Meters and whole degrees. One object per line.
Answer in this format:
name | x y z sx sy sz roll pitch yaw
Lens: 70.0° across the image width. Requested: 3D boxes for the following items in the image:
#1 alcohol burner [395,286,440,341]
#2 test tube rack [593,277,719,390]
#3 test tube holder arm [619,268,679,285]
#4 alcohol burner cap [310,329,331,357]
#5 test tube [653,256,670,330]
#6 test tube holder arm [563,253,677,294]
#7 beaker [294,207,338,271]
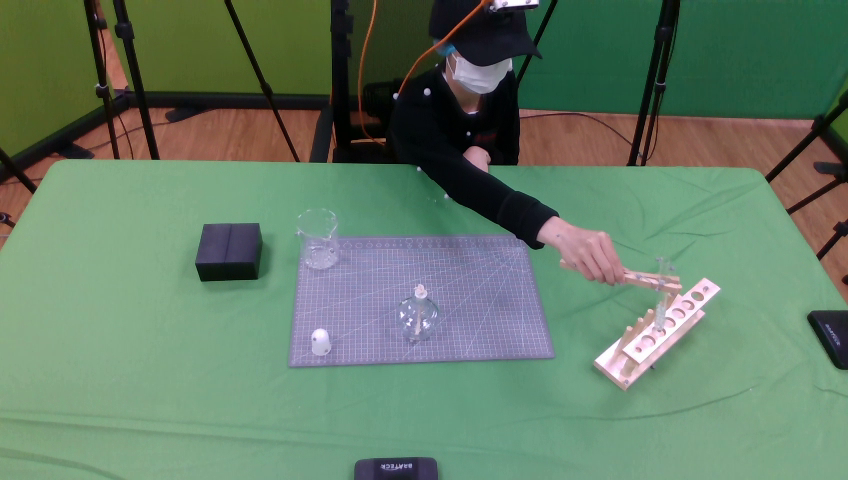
alcohol burner | -0.010 0.116 1.018 0.078 0.119 0.077 3 47 -3
test tube rack | 0.401 0.148 1.043 0.242 0.085 0.066 -30 55 -29
test tube holder arm | 0.342 0.055 0.924 0.087 0.015 0.010 7 54 23
alcohol burner cap | -0.173 0.168 1.005 0.034 0.048 0.033 2 46 -2
test tube | 0.364 0.085 0.930 0.017 0.151 0.017 -8 39 7
test tube holder arm | 0.301 0.051 0.942 0.178 0.015 0.013 16 57 29
beaker | -0.196 0.003 1.123 0.074 0.101 0.083 -23 53 -24
